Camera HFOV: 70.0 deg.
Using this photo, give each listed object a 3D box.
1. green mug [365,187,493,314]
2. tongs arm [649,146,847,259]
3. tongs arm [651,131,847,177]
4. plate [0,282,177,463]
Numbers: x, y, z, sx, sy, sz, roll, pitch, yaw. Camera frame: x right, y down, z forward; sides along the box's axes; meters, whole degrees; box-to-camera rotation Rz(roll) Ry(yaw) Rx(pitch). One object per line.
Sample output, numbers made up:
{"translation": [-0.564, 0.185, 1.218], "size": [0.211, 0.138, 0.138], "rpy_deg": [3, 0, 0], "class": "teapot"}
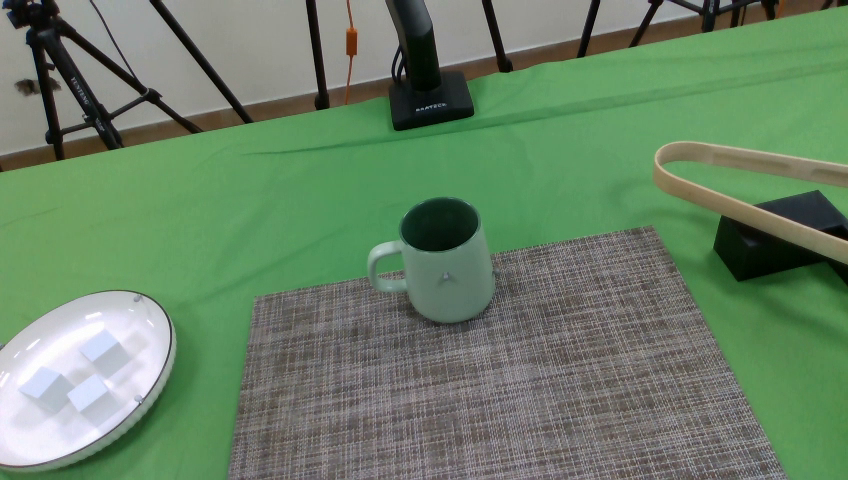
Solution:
{"translation": [0.003, 0.015, 0.602], "size": [0.125, 0.106, 0.091], "rpy_deg": [-11, 46, 1], "class": "green mug"}
{"translation": [0.370, -0.002, 0.536], "size": [0.384, 0.028, 0.028], "rpy_deg": [31, 67, 34], "class": "tongs arm"}
{"translation": [0.415, -0.055, 0.572], "size": [0.382, 0.027, 0.050], "rpy_deg": [19, 57, 27], "class": "tongs arm"}
{"translation": [-0.352, 0.132, 0.619], "size": [0.209, 0.038, 0.207], "rpy_deg": [-6, 45, 6], "class": "plate"}
